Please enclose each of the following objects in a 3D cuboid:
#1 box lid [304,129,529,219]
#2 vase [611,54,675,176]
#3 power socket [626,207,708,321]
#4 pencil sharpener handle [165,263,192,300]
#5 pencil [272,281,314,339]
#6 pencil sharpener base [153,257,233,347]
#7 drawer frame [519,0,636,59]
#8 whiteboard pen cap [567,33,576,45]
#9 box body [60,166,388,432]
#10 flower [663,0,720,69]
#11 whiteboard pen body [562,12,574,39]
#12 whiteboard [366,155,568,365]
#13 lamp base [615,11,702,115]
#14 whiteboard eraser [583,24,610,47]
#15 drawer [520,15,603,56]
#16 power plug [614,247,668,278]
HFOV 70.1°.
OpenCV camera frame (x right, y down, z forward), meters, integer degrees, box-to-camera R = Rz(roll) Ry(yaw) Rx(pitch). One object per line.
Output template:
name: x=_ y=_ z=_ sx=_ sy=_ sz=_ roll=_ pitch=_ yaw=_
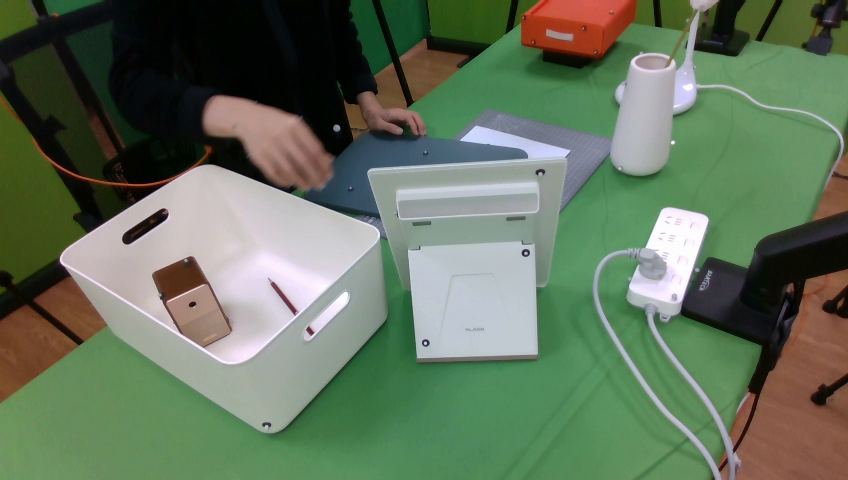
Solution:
box lid: x=-0.010 y=-0.117 z=1.122 sx=0.369 sy=0.015 sz=0.263 roll=11 pitch=44 yaw=22
vase: x=0.377 y=-0.209 z=1.031 sx=0.098 sy=0.201 sz=0.097 roll=-3 pitch=40 yaw=3
power socket: x=0.359 y=0.025 z=0.886 sx=0.072 sy=0.033 sz=0.227 roll=16 pitch=46 yaw=26
pencil sharpener handle: x=-0.353 y=0.054 z=0.867 sx=0.036 sy=0.068 sz=0.030 roll=-18 pitch=40 yaw=-28
pencil: x=-0.187 y=0.106 z=0.880 sx=0.012 sy=0.012 sz=0.192 roll=-27 pitch=41 yaw=-22
pencil sharpener base: x=-0.321 y=0.088 z=0.843 sx=0.061 sy=0.107 sz=0.076 roll=-28 pitch=44 yaw=-20
drawer frame: x=0.362 y=-0.518 z=1.423 sx=0.200 sy=0.083 sz=0.214 roll=19 pitch=48 yaw=29
whiteboard pen cap: x=0.339 y=-0.463 z=1.390 sx=0.018 sy=0.018 sz=0.033 roll=-2 pitch=44 yaw=6
box body: x=-0.256 y=0.065 z=0.827 sx=0.361 sy=0.161 sz=0.255 roll=20 pitch=48 yaw=29
flower: x=0.379 y=-0.261 z=0.965 sx=0.044 sy=0.362 sz=0.038 roll=20 pitch=52 yaw=5
whiteboard pen body: x=0.341 y=-0.506 z=1.430 sx=0.017 sy=0.017 sz=0.140 roll=-2 pitch=42 yaw=6
whiteboard: x=0.059 y=0.050 z=0.738 sx=0.217 sy=0.307 sz=0.143 roll=-2 pitch=60 yaw=5
lamp base: x=0.484 y=-0.363 z=1.211 sx=0.180 sy=0.181 sz=0.159 roll=-15 pitch=41 yaw=-14
whiteboard eraser: x=0.407 y=-0.479 z=1.423 sx=0.055 sy=0.042 sz=0.113 roll=-3 pitch=9 yaw=20
drawer: x=0.359 y=-0.517 z=1.416 sx=0.193 sy=0.073 sz=0.212 roll=20 pitch=47 yaw=29
power plug: x=0.306 y=0.031 z=0.851 sx=0.072 sy=0.053 sz=0.035 roll=24 pitch=49 yaw=33
